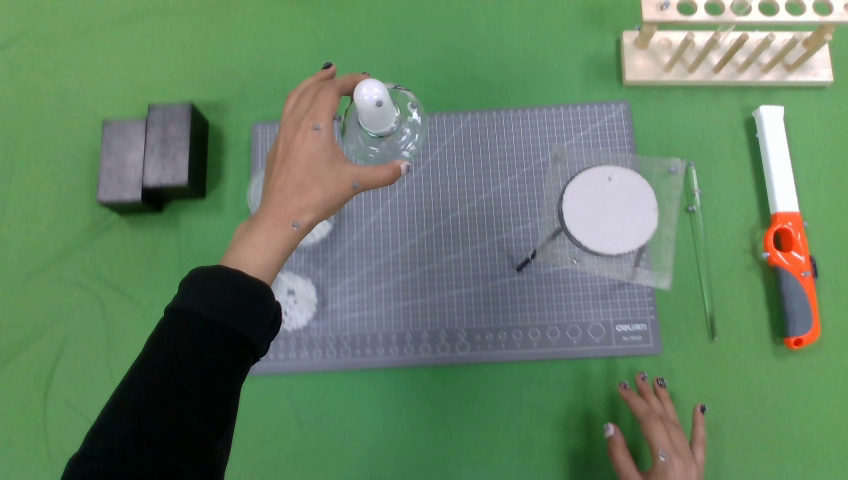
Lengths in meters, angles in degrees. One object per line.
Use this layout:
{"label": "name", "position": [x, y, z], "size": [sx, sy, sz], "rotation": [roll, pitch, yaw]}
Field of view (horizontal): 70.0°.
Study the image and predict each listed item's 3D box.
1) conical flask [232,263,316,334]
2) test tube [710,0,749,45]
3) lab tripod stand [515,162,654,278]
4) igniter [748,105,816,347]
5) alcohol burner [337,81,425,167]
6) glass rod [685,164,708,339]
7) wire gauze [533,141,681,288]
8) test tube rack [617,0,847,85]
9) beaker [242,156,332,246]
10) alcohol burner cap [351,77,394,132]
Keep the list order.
{"label": "conical flask", "position": [-0.157, 0.054, 0.618], "size": [0.075, 0.122, 0.075], "rotation": [0, 76, 1]}
{"label": "test tube", "position": [0.337, -0.254, 0.648], "size": [0.017, 0.151, 0.017], "rotation": [-1, 76, 4]}
{"label": "lab tripod stand", "position": [0.166, -0.012, 0.620], "size": [0.148, 0.132, 0.147], "rotation": [0, 78, 2]}
{"label": "igniter", "position": [0.397, -0.020, 0.674], "size": [0.057, 0.025, 0.275], "rotation": [1, 77, -8]}
{"label": "alcohol burner", "position": [-0.040, -0.104, 0.519], "size": [0.078, 0.119, 0.077], "rotation": [-1, 83, 6]}
{"label": "glass rod", "position": [0.305, 0.010, 0.679], "size": [0.008, 0.008, 0.199], "rotation": [-1, 80, 1]}
{"label": "wire gauze", "position": [0.168, -0.027, 0.554], "size": [0.125, 0.011, 0.121], "rotation": [11, 79, 5]}
{"label": "test tube rack", "position": [0.355, -0.228, 0.693], "size": [0.242, 0.085, 0.066], "rotation": [1, 76, 2]}
{"label": "beaker", "position": [-0.139, -0.036, 0.649], "size": [0.084, 0.100, 0.074], "rotation": [33, 80, 8]}
{"label": "alcohol burner cap", "position": [-0.042, -0.111, 0.484], "size": [0.034, 0.048, 0.033], "rotation": [0, 76, 1]}
